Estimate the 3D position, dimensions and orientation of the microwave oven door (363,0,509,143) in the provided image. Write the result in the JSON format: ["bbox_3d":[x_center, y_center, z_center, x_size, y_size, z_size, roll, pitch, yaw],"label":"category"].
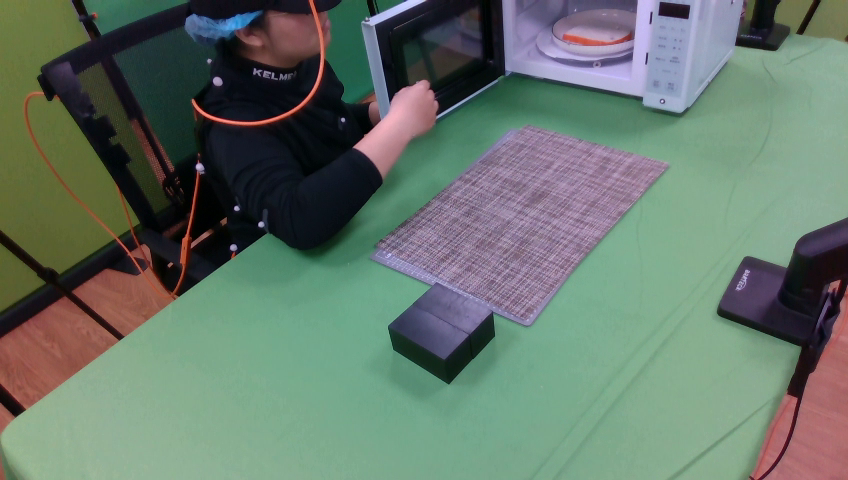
[{"bbox_3d":[0.040,-0.386,1.238,0.357,0.245,0.039,-37,47,-28],"label":"microwave oven door"}]

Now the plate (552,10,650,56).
[{"bbox_3d":[0.390,-0.454,1.339,0.209,0.038,0.208,-5,39,5],"label":"plate"}]

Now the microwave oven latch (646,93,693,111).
[{"bbox_3d":[0.477,-0.273,1.177,0.078,0.029,0.030,22,50,33],"label":"microwave oven latch"}]

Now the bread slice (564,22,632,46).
[{"bbox_3d":[0.393,-0.453,1.343,0.105,0.019,0.130,-36,43,-26],"label":"bread slice"}]

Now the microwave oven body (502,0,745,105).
[{"bbox_3d":[0.416,-0.486,1.290,0.438,0.261,0.327,21,50,33],"label":"microwave oven body"}]
